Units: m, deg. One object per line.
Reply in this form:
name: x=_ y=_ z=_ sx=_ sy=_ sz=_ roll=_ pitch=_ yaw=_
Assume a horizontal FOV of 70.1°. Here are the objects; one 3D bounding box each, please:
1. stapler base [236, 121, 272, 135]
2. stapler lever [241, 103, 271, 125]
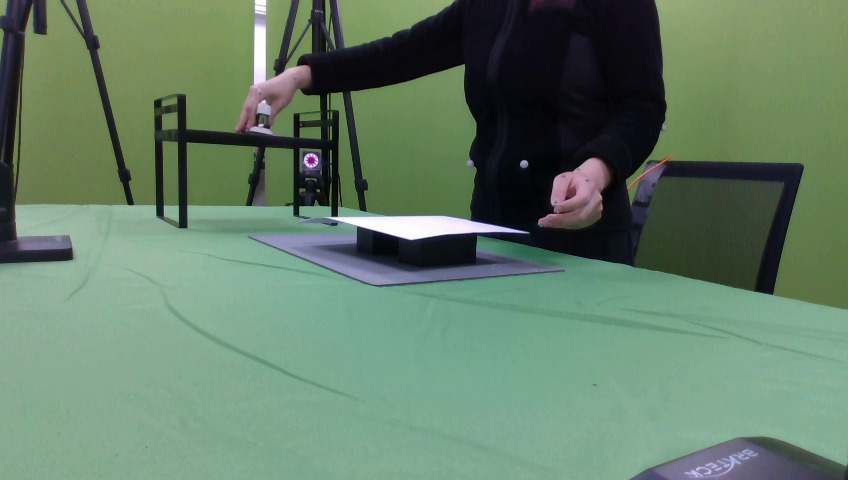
stapler base: x=-0.342 y=-0.228 z=1.223 sx=0.041 sy=0.024 sz=0.130 roll=11 pitch=0 yaw=-33
stapler lever: x=-0.340 y=-0.253 z=1.223 sx=0.027 sy=0.040 sz=0.117 roll=11 pitch=1 yaw=-33
